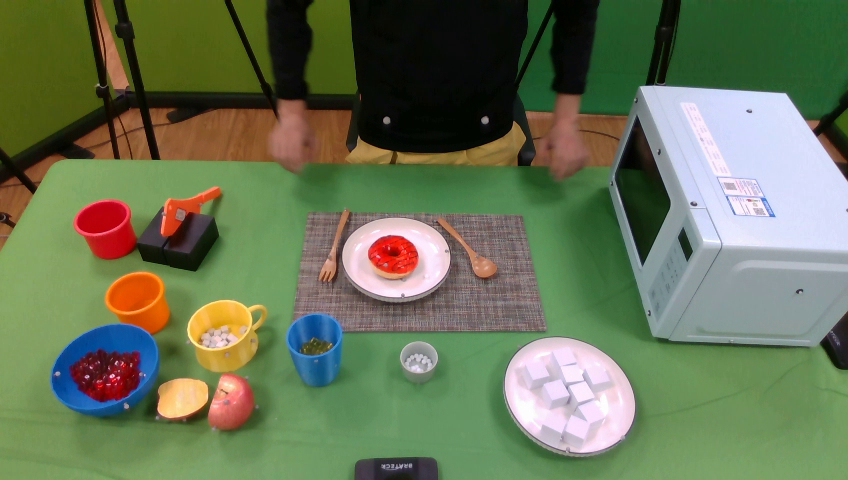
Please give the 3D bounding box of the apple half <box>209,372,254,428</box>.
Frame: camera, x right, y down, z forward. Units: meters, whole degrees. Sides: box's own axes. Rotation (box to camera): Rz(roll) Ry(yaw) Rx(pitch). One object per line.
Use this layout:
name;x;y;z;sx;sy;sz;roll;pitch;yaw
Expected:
apple half;-0.282;0.243;0.908;0.053;0.075;0.080;8;42;-2

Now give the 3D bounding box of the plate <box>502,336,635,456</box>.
plate;0.225;0.248;0.963;0.208;0.039;0.206;2;46;-2

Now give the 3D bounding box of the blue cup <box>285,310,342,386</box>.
blue cup;-0.170;0.179;0.958;0.093;0.101;0.092;2;44;-2

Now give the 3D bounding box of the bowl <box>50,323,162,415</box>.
bowl;-0.472;0.209;0.924;0.151;0.077;0.150;3;45;-2

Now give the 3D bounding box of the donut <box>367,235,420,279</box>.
donut;-0.056;0.032;1.131;0.099;0.048;0.098;3;45;-3

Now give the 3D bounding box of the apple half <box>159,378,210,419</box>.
apple half;-0.366;0.247;0.926;0.081;0.033;0.081;8;31;-5

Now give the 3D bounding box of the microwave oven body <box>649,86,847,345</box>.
microwave oven body;0.568;-0.053;1.118;0.326;0.261;0.439;2;45;-1

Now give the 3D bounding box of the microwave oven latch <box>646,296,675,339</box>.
microwave oven latch;0.412;0.134;1.061;0.030;0.029;0.078;4;45;1

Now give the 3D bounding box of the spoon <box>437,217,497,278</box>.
spoon;0.080;0.010;1.188;0.041;0.022;0.192;-34;55;-8

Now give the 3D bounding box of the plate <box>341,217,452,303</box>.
plate;-0.052;0.039;1.140;0.209;0.038;0.208;2;46;-2

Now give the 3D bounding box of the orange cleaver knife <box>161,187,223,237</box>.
orange cleaver knife;-0.448;-0.058;1.181;0.012;0.077;0.211;13;17;6

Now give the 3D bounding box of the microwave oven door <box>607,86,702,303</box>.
microwave oven door;0.423;-0.094;1.140;0.039;0.245;0.353;3;46;-1

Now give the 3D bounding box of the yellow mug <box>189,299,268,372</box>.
yellow mug;-0.316;0.148;1.001;0.131;0.064;0.099;-32;56;-31

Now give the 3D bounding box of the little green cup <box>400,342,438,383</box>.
little green cup;-0.010;0.202;0.991;0.061;0.039;0.061;2;47;-2

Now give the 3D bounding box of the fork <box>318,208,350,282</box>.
fork;-0.170;0.006;1.177;0.028;0.019;0.206;3;47;8
